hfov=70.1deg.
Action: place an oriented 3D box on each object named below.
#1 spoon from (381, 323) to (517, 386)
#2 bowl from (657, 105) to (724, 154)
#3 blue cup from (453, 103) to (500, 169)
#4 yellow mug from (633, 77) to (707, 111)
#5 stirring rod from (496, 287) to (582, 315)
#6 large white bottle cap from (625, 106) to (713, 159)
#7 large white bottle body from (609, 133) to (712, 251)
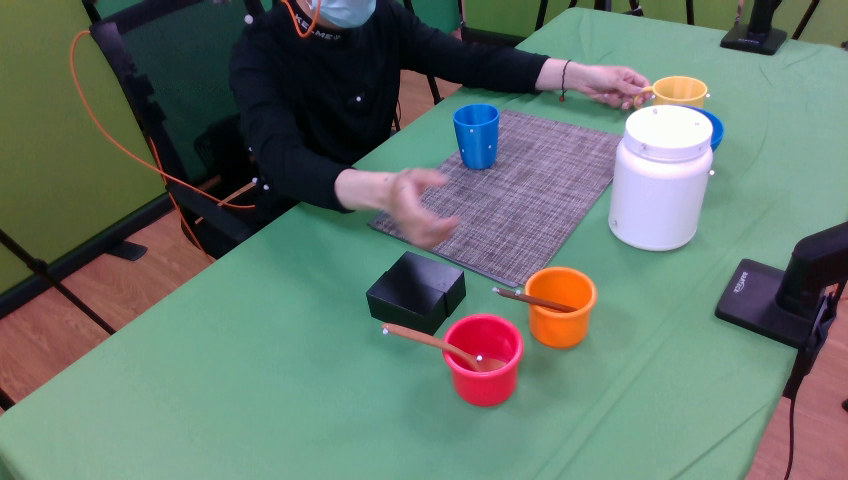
[{"bbox_3d":[0.033,0.133,0.722,0.195,0.021,0.041,29,32,-26],"label":"spoon"},{"bbox_3d":[0.438,-0.166,1.063,0.151,0.077,0.150,-4,41,4],"label":"bowl"},{"bbox_3d":[0.100,-0.188,1.115,0.092,0.100,0.092,-4,39,4],"label":"blue cup"},{"bbox_3d":[0.479,-0.270,1.186,0.130,0.064,0.100,10,44,22],"label":"yellow mug"},{"bbox_3d":[0.150,0.080,0.773,0.178,0.006,0.014,17,21,-42],"label":"stirring rod"},{"bbox_3d":[0.342,-0.153,0.848,0.115,0.018,0.114,-4,41,4],"label":"large white bottle cap"},{"bbox_3d":[0.351,-0.090,0.904,0.130,0.185,0.130,-5,41,4],"label":"large white bottle body"}]
